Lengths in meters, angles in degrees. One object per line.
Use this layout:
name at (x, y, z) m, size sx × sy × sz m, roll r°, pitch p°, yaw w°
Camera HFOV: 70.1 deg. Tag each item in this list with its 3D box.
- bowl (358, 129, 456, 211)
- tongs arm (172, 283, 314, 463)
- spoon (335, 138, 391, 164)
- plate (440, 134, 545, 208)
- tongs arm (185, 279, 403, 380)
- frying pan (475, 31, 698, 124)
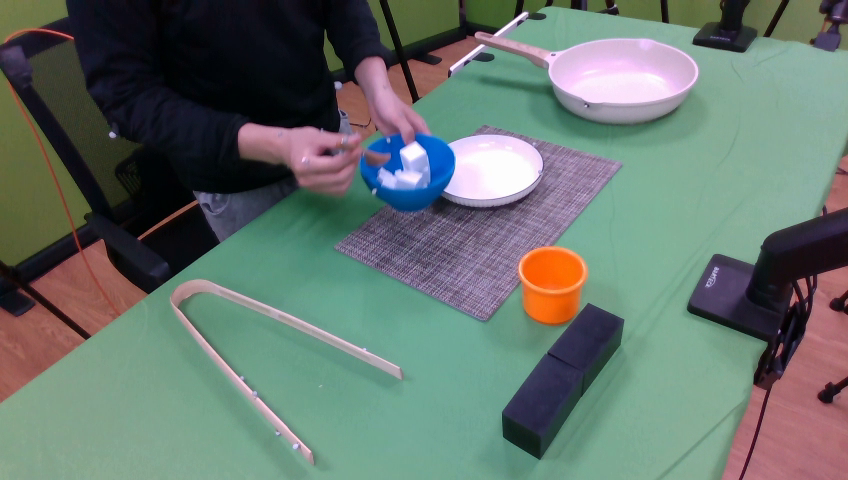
bowl at (-0.024, -0.098, 0.947) m, size 0.151 × 0.077 × 0.150 m, roll -1°, pitch 45°, yaw 1°
tongs arm at (-0.246, 0.161, 0.806) m, size 0.381 × 0.026 × 0.051 m, roll 29°, pitch 51°, yaw 36°
spoon at (-0.086, -0.125, 0.833) m, size 0.041 × 0.021 × 0.194 m, roll -19°, pitch -5°, yaw 13°
plate at (0.110, -0.119, 1.073) m, size 0.207 × 0.039 × 0.206 m, roll -4°, pitch 40°, yaw 4°
tongs arm at (-0.193, 0.120, 0.853) m, size 0.385 × 0.028 × 0.028 m, roll 18°, pitch 49°, yaw 26°
frying pan at (0.320, -0.371, 1.290) m, size 0.485 × 0.103 × 0.307 m, roll 28°, pitch 50°, yaw 23°
